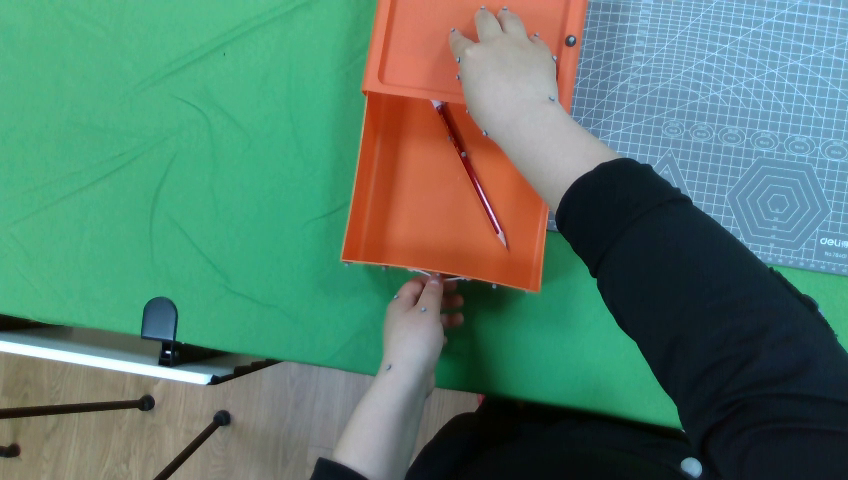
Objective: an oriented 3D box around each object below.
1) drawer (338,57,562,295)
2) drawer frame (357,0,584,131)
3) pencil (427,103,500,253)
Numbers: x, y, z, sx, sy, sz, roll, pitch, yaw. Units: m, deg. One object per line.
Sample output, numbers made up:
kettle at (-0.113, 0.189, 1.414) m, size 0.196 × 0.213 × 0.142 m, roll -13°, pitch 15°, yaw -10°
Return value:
drawer at (0.030, -0.061, 0.602) m, size 0.194 × 0.073 × 0.211 m, roll 8°, pitch 89°, yaw 8°
drawer frame at (0.053, -0.222, 0.604) m, size 0.201 × 0.083 × 0.213 m, roll 8°, pitch 88°, yaw 9°
pencil at (0.039, -0.075, 0.628) m, size 0.012 × 0.012 × 0.193 m, roll -24°, pitch 85°, yaw 6°
